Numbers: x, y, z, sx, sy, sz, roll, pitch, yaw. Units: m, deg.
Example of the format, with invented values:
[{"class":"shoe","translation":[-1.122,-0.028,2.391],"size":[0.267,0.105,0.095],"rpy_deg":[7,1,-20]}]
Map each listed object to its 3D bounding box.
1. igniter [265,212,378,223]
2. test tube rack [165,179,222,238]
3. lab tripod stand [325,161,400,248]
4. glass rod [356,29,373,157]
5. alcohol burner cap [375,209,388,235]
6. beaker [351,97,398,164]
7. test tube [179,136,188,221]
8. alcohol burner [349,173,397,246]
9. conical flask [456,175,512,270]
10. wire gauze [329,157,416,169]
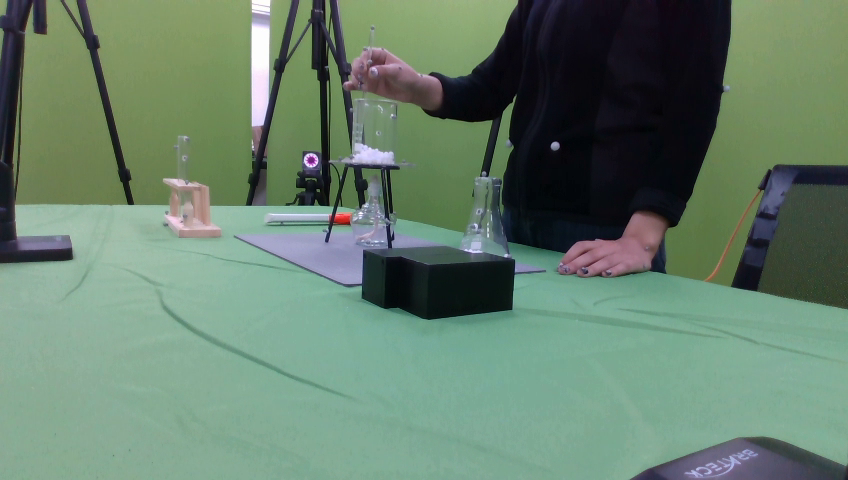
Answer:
[{"class":"igniter","translation":[-0.196,-0.048,1.285],"size":[0.278,0.025,0.057],"rpy_deg":[-2,-2,-30]},{"class":"test tube rack","translation":[-0.423,-0.062,1.098],"size":[0.067,0.085,0.241],"rpy_deg":[-2,9,-28]},{"class":"lab tripod stand","translation":[-0.083,-0.059,0.977],"size":[0.148,0.131,0.148],"rpy_deg":[4,8,0]},{"class":"glass rod","translation":[-0.095,-0.232,0.960],"size":[0.008,0.199,0.008],"rpy_deg":[7,8,-1]},{"class":"alcohol burner cap","translation":[-0.076,-0.035,1.144],"size":[0.034,0.048,0.034],"rpy_deg":[2,7,0]},{"class":"beaker","translation":[-0.078,-0.172,0.962],"size":[0.074,0.100,0.084],"rpy_deg":[6,8,18]},{"class":"test tube","translation":[-0.425,-0.108,1.070],"size":[0.017,0.150,0.017],"rpy_deg":[4,9,0]},{"class":"alcohol burner","translation":[-0.081,-0.050,0.982],"size":[0.078,0.119,0.078],"rpy_deg":[4,8,0]},{"class":"conical flask","translation":[0.082,-0.025,0.801],"size":[0.075,0.122,0.075],"rpy_deg":[2,7,0]},{"class":"wire gauze","translation":[-0.079,-0.125,0.972],"size":[0.121,0.011,0.125],"rpy_deg":[6,6,5]}]
